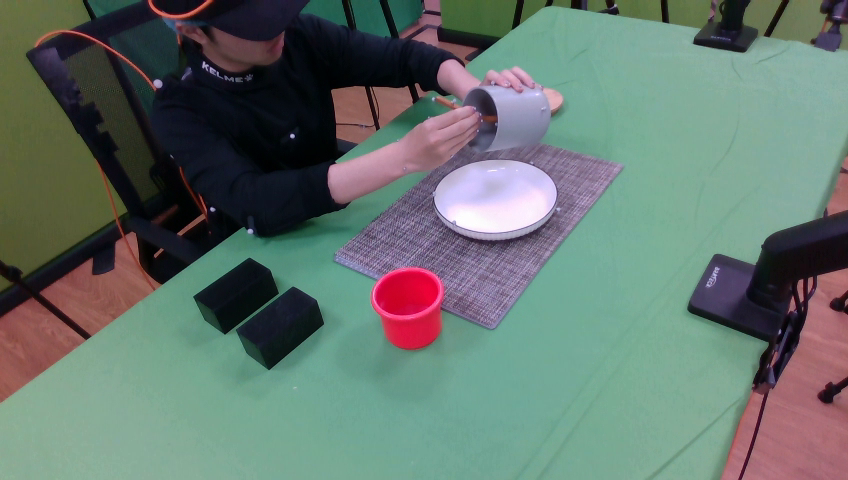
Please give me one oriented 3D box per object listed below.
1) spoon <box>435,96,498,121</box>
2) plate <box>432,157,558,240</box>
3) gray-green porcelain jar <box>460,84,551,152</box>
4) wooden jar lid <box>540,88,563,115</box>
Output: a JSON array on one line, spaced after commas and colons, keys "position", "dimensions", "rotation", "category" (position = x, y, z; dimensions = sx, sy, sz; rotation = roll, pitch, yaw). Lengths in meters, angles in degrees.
[{"position": [0.090, -0.201, 0.977], "dimensions": [0.195, 0.021, 0.041], "rotation": [4, 16, -42], "category": "spoon"}, {"position": [0.118, -0.066, 1.013], "dimensions": [0.207, 0.039, 0.206], "rotation": [-4, 41, 4], "category": "plate"}, {"position": [0.141, -0.207, 1.015], "dimensions": [0.127, 0.106, 0.105], "rotation": [-14, 38, -32], "category": "gray-green porcelain jar"}, {"position": [0.237, -0.286, 1.271], "dimensions": [0.108, 0.021, 0.108], "rotation": [-5, 42, 5], "category": "wooden jar lid"}]
